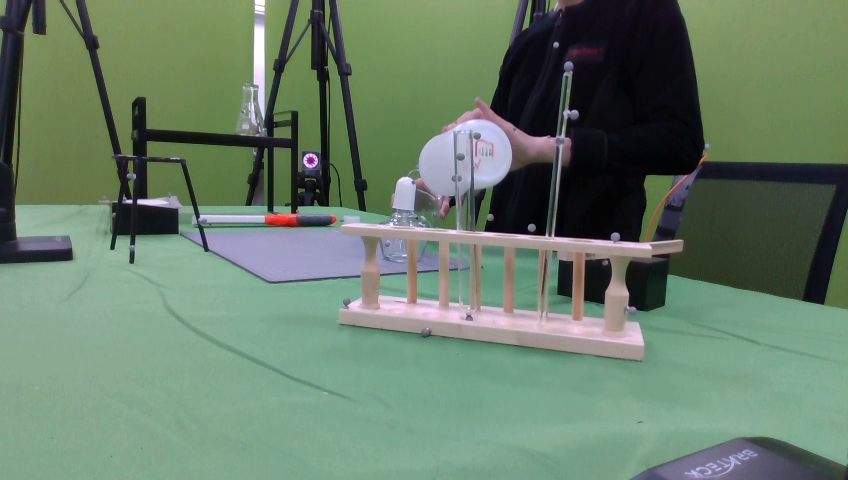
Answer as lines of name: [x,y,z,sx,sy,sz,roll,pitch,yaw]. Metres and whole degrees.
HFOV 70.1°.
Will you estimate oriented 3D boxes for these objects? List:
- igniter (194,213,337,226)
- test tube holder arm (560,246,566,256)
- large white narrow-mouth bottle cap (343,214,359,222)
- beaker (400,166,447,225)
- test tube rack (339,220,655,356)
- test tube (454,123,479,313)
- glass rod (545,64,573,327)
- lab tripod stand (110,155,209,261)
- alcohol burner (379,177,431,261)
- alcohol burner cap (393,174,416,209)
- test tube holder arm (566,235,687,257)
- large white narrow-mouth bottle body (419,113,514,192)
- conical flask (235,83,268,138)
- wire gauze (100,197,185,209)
igniter: [-0.306,-0.041,1.197,0.278,0.025,0.057,-2,-2,-30]
test tube holder arm: [0.173,0.007,0.612,0.088,0.015,0.010,-3,9,-30]
large white narrow-mouth bottle cap: [-0.155,-0.043,1.282,0.038,0.024,0.037,2,8,0]
beaker: [0.001,-0.066,1.054,0.074,0.100,0.083,-7,43,-24]
test tube rack: [0.056,0.032,0.495,0.242,0.085,0.067,4,7,15]
test tube: [0.034,-0.016,0.477,0.017,0.150,0.017,-2,9,1]
glass rod: [0.101,-0.028,0.453,0.008,0.199,0.008,1,14,0]
lab tripod stand: [-0.361,-0.046,0.806,0.148,0.131,0.148,2,5,0]
alcohol burner: [-0.027,-0.031,0.838,0.078,0.119,0.078,0,6,0]
alcohol burner cap: [-0.025,-0.067,0.834,0.034,0.048,0.034,8,8,-1]
test tube holder arm: [0.215,0.006,0.630,0.179,0.015,0.013,-3,9,-31]
large white narrow-mouth bottle body: [0.049,-0.124,0.922,0.102,0.101,0.194,-1,-3,-22]
conical flask: [-0.402,-0.299,1.406,0.075,0.122,0.075,2,7,0]
wire gauze: [-0.469,-0.062,1.008,0.126,0.011,0.121,-2,8,-25]
